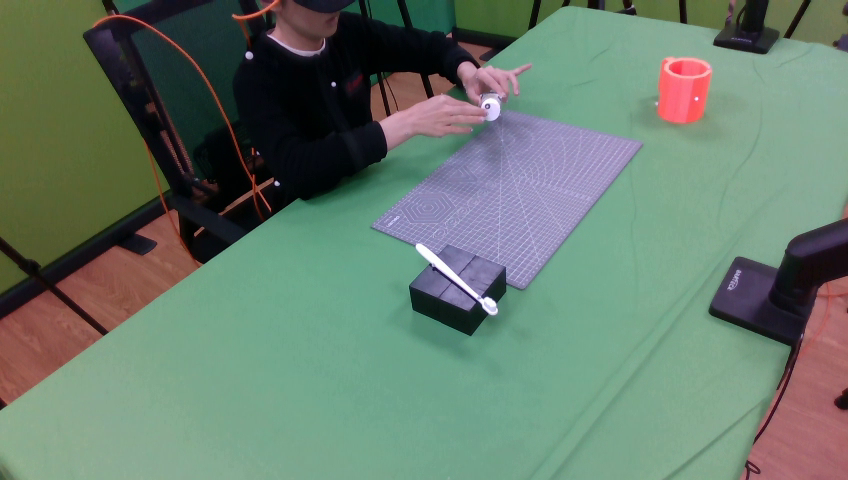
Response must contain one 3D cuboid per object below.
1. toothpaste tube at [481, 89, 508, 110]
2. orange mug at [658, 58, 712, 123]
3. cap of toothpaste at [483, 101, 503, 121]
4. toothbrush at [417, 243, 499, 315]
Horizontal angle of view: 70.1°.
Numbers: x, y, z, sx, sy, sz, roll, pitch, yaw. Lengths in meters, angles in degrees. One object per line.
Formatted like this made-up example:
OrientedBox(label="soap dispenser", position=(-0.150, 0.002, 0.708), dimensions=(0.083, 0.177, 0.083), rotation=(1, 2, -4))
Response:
OrientedBox(label="toothpaste tube", position=(0.137, -0.272, 1.175), dimensions=(0.055, 0.034, 0.164), rotation=(0, 27, 7))
OrientedBox(label="orange mug", position=(0.504, -0.304, 1.193), dimensions=(0.083, 0.101, 0.125), rotation=(-13, 45, -5))
OrientedBox(label="cap of toothpaste", position=(0.126, -0.236, 1.103), dimensions=(0.037, 0.037, 0.011), rotation=(-9, 31, -2))
OrientedBox(label="toothbrush", position=(0.043, 0.049, 0.842), dimensions=(0.014, 0.017, 0.180), rotation=(-31, 45, -21))
